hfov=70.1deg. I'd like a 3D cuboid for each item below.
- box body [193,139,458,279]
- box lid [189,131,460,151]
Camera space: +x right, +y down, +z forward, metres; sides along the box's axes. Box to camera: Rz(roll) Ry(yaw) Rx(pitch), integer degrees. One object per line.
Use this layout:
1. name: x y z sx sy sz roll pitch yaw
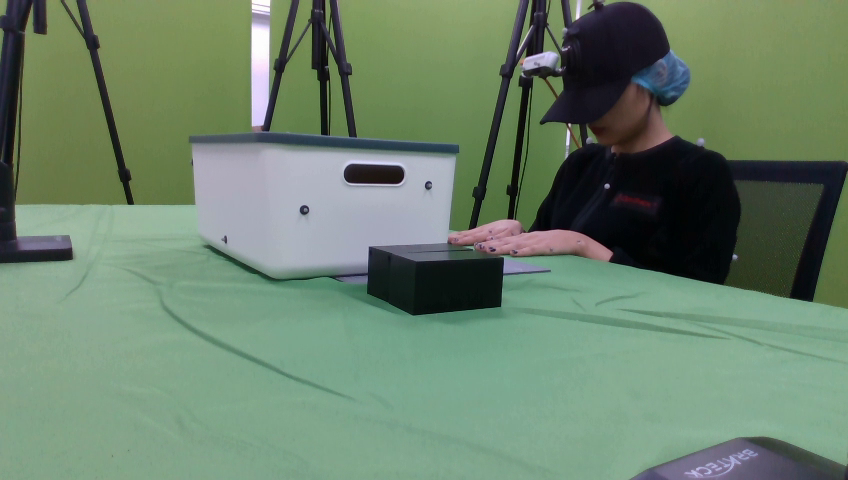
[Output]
1. box body: -0.154 -0.059 0.840 0.255 0.160 0.362 -2 9 -33
2. box lid: -0.150 -0.132 0.828 0.265 0.015 0.369 -3 9 -33
